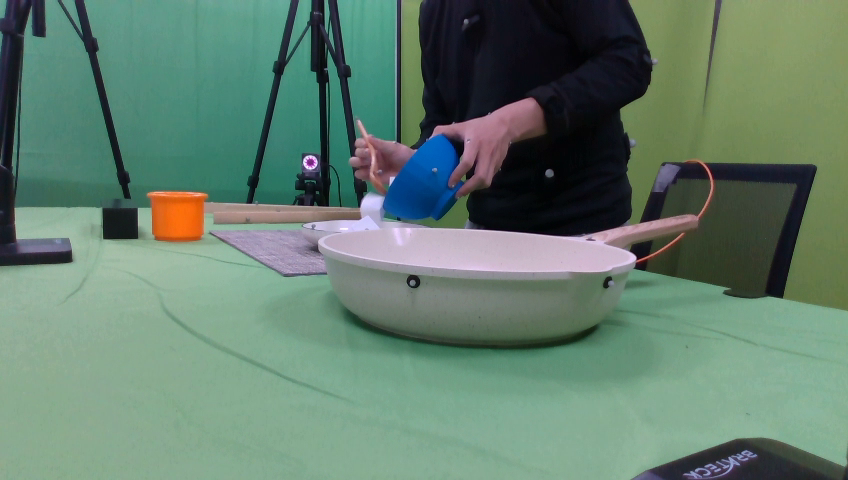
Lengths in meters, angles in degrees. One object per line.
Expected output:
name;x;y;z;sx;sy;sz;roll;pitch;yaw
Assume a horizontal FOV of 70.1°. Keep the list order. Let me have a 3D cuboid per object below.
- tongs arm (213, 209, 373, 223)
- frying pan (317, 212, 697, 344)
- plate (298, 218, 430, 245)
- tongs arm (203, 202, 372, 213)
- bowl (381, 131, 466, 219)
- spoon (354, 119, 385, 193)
tongs arm;-0.274;-0.054;1.347;0.390;0.028;0.028;-2;6;-37
frying pan;0.133;0.013;0.629;0.490;0.102;0.305;-12;14;-31
plate;-0.091;-0.006;0.949;0.208;0.039;0.207;2;7;0
tongs arm;-0.312;-0.068;1.418;0.387;0.026;0.050;1;8;-24
bowl;0.012;-0.085;0.939;0.076;0.151;0.152;39;15;9
spoon;-0.091;-0.143;1.002;0.021;0.193;0.042;-29;-41;13
